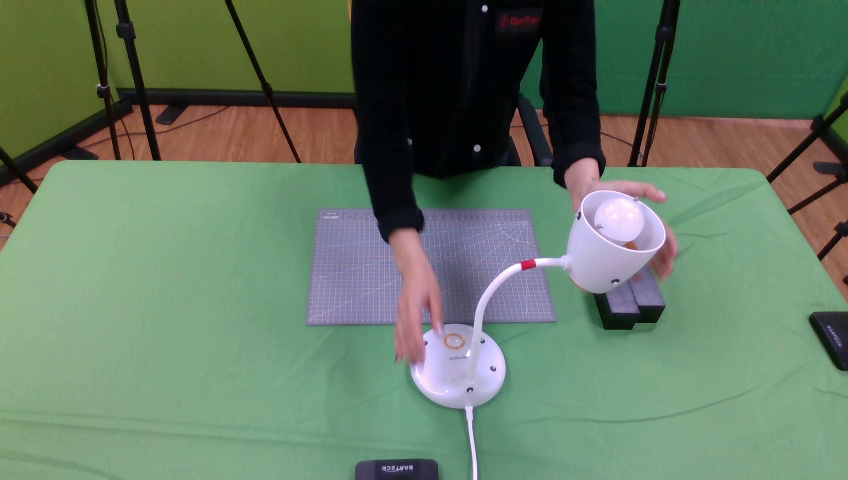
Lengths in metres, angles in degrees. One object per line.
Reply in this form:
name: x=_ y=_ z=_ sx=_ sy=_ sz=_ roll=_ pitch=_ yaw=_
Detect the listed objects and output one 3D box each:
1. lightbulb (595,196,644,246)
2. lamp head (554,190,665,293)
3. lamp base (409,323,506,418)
lightbulb: x=0.243 y=-0.008 z=0.783 sx=0.059 sy=0.108 sz=0.059 roll=8 pitch=40 yaw=-7
lamp head: x=0.233 y=0.013 z=0.795 sx=0.113 sy=0.123 sz=0.111 roll=13 pitch=43 yaw=-12
lamp base: x=0.063 y=0.161 z=0.940 sx=0.161 sy=0.181 sz=0.178 roll=-10 pitch=50 yaw=-13
